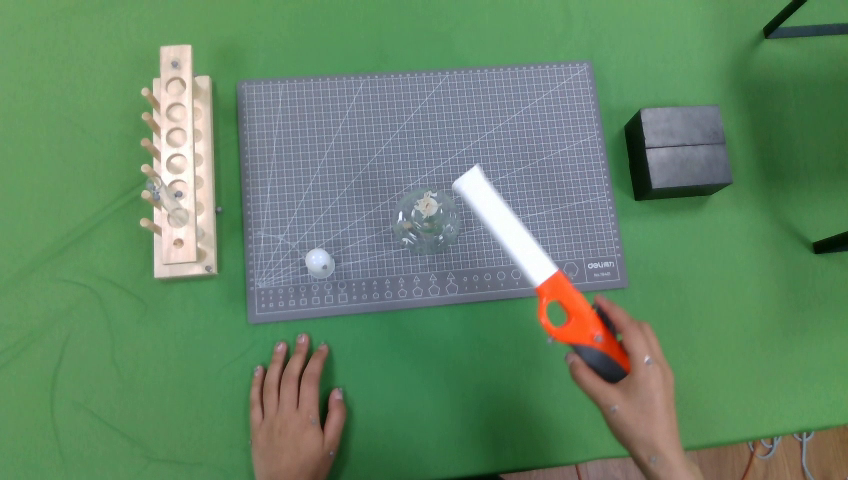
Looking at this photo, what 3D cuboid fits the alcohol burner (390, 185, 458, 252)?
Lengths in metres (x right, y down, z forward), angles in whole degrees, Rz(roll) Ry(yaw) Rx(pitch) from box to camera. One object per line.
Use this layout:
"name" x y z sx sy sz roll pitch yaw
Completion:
"alcohol burner" 0.001 -0.028 0.672 0.078 0.119 0.077 1 79 -3

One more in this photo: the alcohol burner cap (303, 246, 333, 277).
"alcohol burner cap" -0.122 0.022 0.688 0.034 0.048 0.033 1 77 -3

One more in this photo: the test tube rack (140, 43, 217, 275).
"test tube rack" -0.280 -0.088 0.679 0.067 0.085 0.241 -4 79 -5

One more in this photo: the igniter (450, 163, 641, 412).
"igniter" 0.119 0.046 0.578 0.057 0.025 0.276 -37 91 -6

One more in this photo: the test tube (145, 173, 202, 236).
"test tube" -0.252 -0.032 0.619 0.017 0.151 0.017 2 73 -5
